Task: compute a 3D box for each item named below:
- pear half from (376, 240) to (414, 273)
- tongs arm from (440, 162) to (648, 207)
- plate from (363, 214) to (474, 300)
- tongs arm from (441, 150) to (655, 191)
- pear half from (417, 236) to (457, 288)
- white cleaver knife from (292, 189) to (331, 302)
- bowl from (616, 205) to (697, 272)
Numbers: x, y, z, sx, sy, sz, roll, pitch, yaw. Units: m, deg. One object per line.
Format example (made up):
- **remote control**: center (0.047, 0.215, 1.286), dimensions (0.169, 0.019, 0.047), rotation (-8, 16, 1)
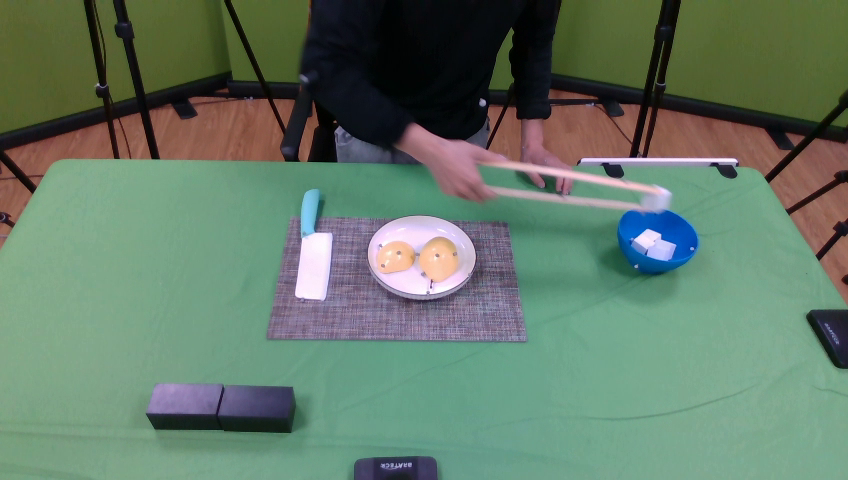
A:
- **pear half**: center (-0.058, 0.026, 1.146), dimensions (0.070, 0.031, 0.088), rotation (22, 43, 22)
- **tongs arm**: center (0.219, -0.101, 1.100), dimensions (0.385, 0.051, 0.026), rotation (5, 33, 0)
- **plate**: center (-0.010, 0.036, 1.146), dimensions (0.208, 0.039, 0.206), rotation (2, 46, -2)
- **tongs arm**: center (0.223, -0.122, 1.087), dimensions (0.388, 0.028, 0.027), rotation (8, 36, -2)
- **pear half**: center (0.022, 0.039, 1.127), dimensions (0.076, 0.056, 0.109), rotation (5, 50, 7)
- **white cleaver knife**: center (-0.215, 0.006, 1.178), dimensions (0.066, 0.021, 0.284), rotation (5, 49, -12)
- **bowl**: center (0.443, 0.010, 1.183), dimensions (0.151, 0.077, 0.150), rotation (2, 46, -2)
